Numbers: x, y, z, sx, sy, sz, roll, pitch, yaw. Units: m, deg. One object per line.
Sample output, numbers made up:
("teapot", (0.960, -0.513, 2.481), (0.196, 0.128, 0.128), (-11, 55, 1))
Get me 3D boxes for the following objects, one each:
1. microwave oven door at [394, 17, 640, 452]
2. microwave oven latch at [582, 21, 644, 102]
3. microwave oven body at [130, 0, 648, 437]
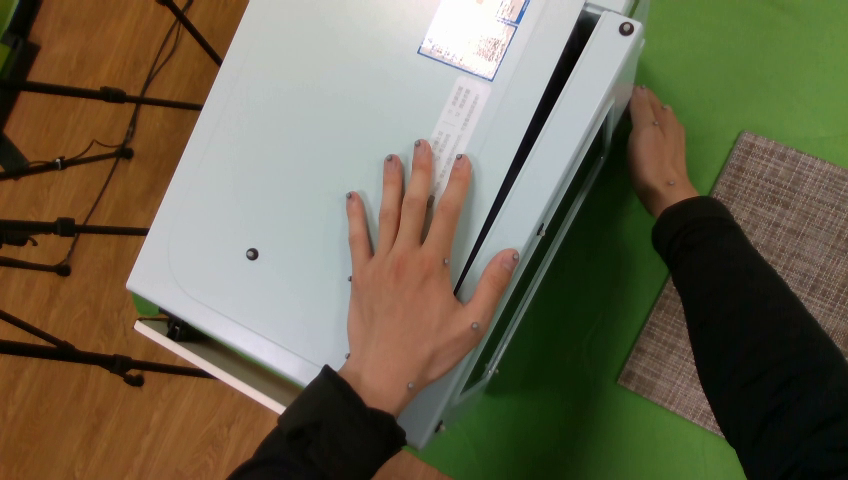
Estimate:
("microwave oven door", (0.095, 0.008, 0.558), (0.039, 0.245, 0.356), (27, 93, 17))
("microwave oven latch", (0.203, -0.190, 0.651), (0.030, 0.029, 0.079), (37, 96, 14))
("microwave oven body", (-0.022, -0.091, 0.603), (0.324, 0.261, 0.441), (24, 93, 16))
